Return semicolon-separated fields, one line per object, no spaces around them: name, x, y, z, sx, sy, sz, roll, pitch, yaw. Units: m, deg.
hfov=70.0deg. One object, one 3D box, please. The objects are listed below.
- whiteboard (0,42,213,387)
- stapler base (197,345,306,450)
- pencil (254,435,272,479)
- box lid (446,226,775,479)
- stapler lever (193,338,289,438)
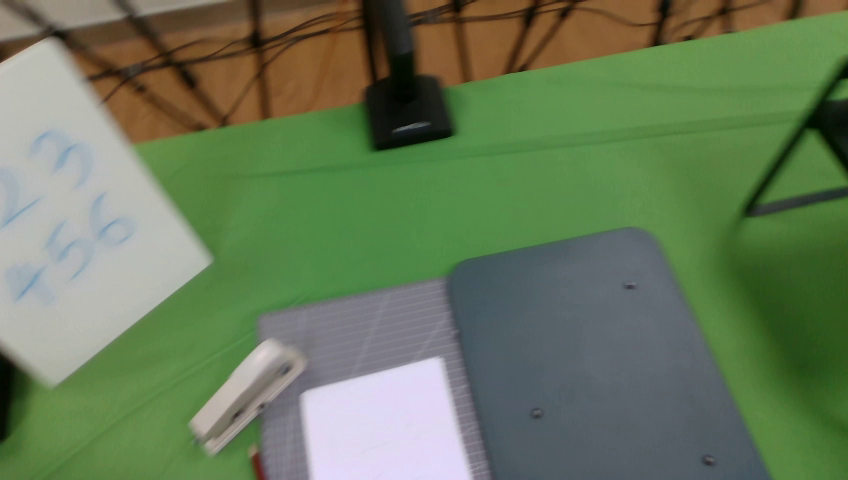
whiteboard;-0.424;-0.033;0.659;0.217;0.309;0.142;-42;45;-21
stapler base;-0.187;0.163;0.651;0.041;0.025;0.130;36;69;27
pencil;-0.138;0.276;0.585;0.012;0.012;0.192;-23;58;-11
box lid;0.185;0.152;0.649;0.263;0.015;0.367;-11;58;-5
stapler lever;-0.190;0.151;0.630;0.026;0.040;0.118;36;69;28
